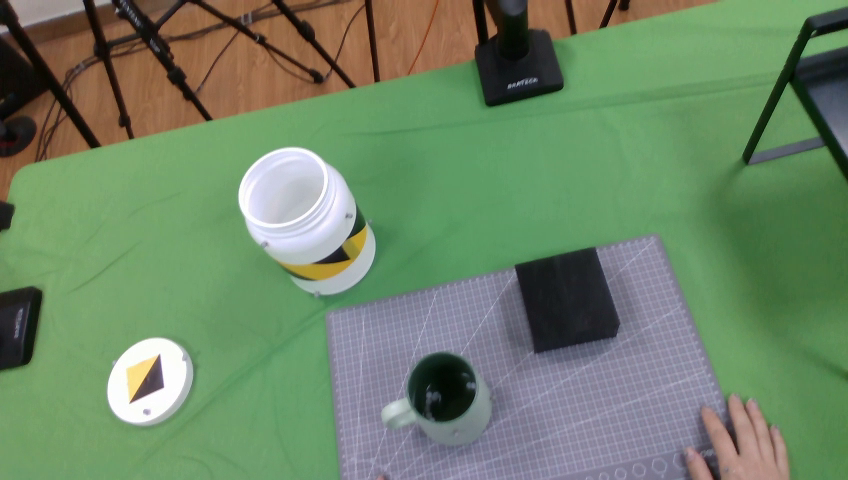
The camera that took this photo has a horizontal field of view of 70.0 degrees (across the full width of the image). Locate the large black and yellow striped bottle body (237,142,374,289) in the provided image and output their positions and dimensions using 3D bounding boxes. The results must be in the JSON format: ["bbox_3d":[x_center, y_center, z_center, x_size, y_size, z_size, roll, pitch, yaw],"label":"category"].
[{"bbox_3d":[-0.148,-0.028,0.776,0.130,0.185,0.129,-4,63,9],"label":"large black and yellow striped bottle body"}]

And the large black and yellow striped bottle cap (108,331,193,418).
[{"bbox_3d":[-0.368,0.179,0.812,0.115,0.019,0.114,-5,63,9],"label":"large black and yellow striped bottle cap"}]

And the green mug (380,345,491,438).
[{"bbox_3d":[0.011,0.178,0.687,0.125,0.106,0.091,-22,62,1],"label":"green mug"}]
